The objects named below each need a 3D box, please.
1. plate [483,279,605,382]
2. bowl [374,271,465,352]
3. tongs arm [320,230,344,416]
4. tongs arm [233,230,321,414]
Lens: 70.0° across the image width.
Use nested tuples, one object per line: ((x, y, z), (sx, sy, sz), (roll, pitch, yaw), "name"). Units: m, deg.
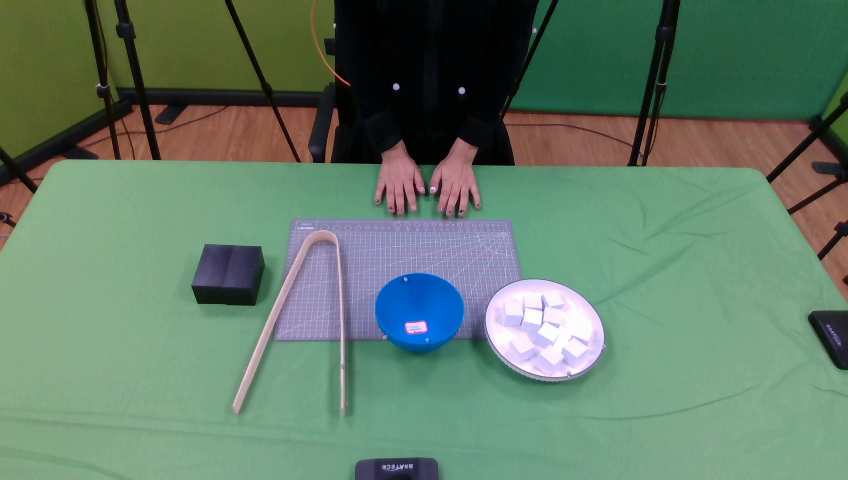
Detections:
((0.204, 0.158, 1.046), (0.208, 0.039, 0.206), (3, 47, -3), "plate")
((-0.009, 0.136, 1.024), (0.151, 0.077, 0.150), (2, 47, -2), "bowl")
((-0.163, 0.126, 1.054), (0.051, 0.026, 0.382), (-4, 47, -2), "tongs arm")
((-0.250, 0.124, 1.054), (0.028, 0.028, 0.385), (5, 46, 10), "tongs arm")
